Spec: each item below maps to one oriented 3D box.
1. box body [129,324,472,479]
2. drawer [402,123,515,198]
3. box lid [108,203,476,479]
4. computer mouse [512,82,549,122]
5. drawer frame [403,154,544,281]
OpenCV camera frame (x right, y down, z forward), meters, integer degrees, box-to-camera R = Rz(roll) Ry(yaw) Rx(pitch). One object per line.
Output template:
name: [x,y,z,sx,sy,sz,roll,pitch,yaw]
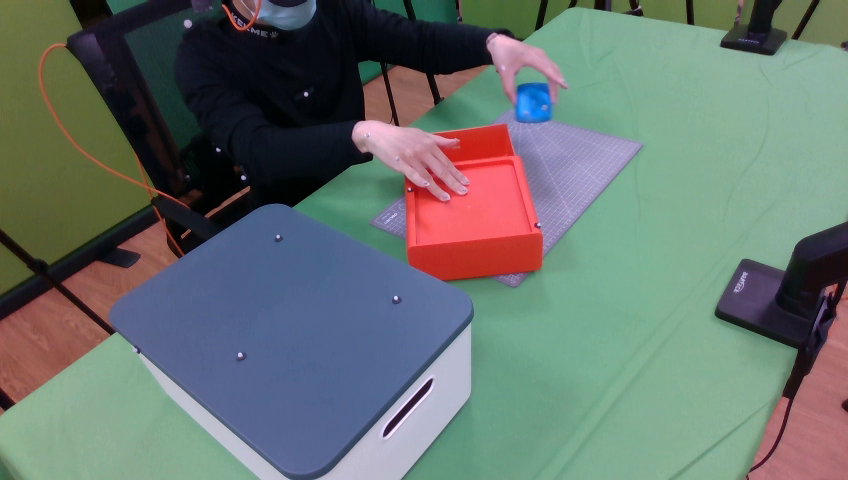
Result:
box body: [-0.147,0.136,0.726,0.361,0.161,0.255,24,50,32]
drawer: [0.065,-0.110,1.041,0.195,0.073,0.210,-6,41,-1]
box lid: [-0.156,0.079,0.678,0.368,0.015,0.264,24,49,32]
computer mouse: [0.190,-0.248,1.072,0.062,0.041,0.117,4,42,8]
drawer frame: [0.072,-0.041,0.958,0.202,0.083,0.212,-6,41,1]
